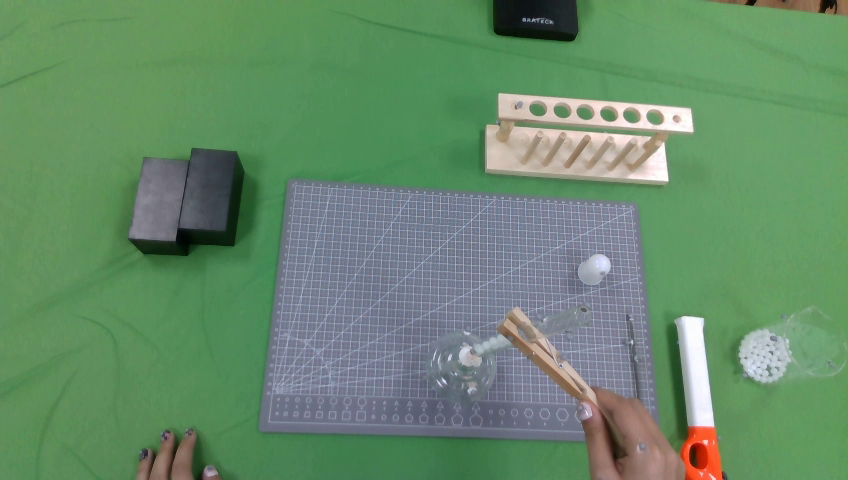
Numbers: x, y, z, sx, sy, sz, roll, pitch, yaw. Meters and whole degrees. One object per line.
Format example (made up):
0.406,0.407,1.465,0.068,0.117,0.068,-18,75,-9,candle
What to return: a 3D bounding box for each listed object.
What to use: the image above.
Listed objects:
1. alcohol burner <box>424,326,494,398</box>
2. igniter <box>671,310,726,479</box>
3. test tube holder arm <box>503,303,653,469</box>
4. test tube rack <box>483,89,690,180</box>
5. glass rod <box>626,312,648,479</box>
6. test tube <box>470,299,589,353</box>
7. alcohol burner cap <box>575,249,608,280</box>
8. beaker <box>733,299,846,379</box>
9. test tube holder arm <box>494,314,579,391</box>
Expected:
0.040,0.126,0.644,0.078,0.120,0.077,2,68,-5,alcohol burner
0.313,0.217,0.693,0.057,0.025,0.274,7,71,-15,igniter
0.130,0.123,0.508,0.178,0.015,0.013,47,59,-1,test tube holder arm
0.202,-0.131,0.769,0.243,0.085,0.066,3,70,-5,test tube rack
0.247,0.182,0.705,0.008,0.008,0.198,3,71,-6,glass rod
0.081,0.074,0.504,0.017,0.150,0.017,11,66,-26,test tube
0.207,0.028,0.735,0.034,0.048,0.033,2,71,-6,alcohol burner cap
0.416,0.118,0.701,0.074,0.101,0.083,16,69,0,beaker
0.095,0.094,0.503,0.088,0.015,0.010,41,58,-5,test tube holder arm
